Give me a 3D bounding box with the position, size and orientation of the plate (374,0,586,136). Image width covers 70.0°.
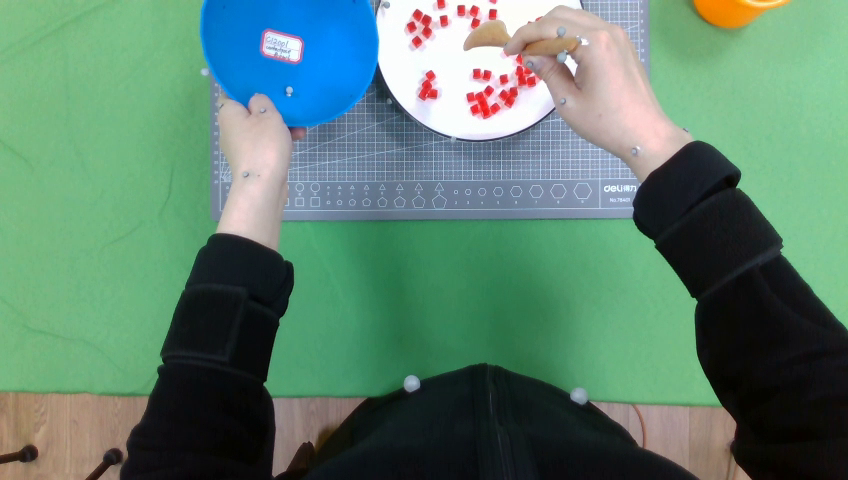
[{"bbox_3d":[0.054,-0.206,0.603,0.209,0.038,0.209,0,90,2],"label":"plate"}]

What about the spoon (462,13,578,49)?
[{"bbox_3d":[0.072,-0.160,0.473,0.041,0.192,0.022,-35,119,-2],"label":"spoon"}]

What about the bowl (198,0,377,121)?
[{"bbox_3d":[-0.125,-0.183,0.548,0.152,0.076,0.152,-3,100,-19],"label":"bowl"}]
